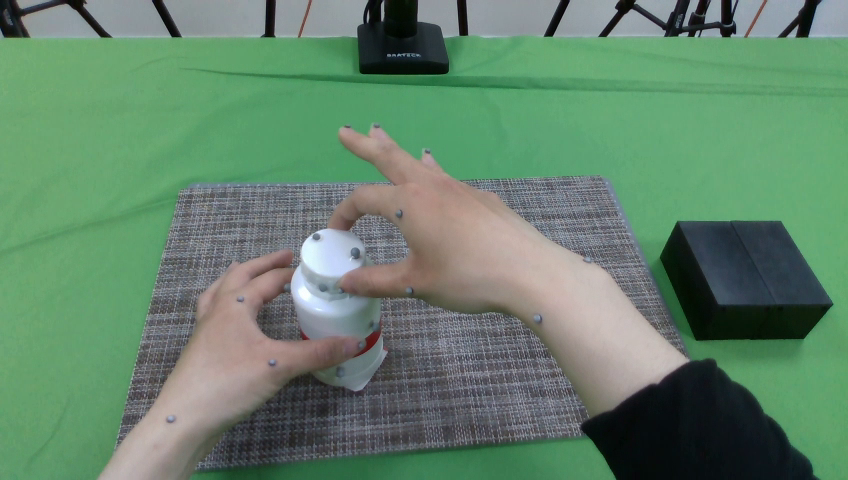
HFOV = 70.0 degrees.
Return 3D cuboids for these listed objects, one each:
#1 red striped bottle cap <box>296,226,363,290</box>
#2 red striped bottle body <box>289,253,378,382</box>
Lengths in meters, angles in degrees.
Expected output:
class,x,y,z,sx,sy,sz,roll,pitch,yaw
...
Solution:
class,x,y,z,sx,sy,sz,roll,pitch,yaw
red striped bottle cap,-0.063,0.011,0.406,0.044,0.018,0.044,7,48,-7
red striped bottle body,-0.065,0.050,0.449,0.063,0.121,0.062,2,47,-2
